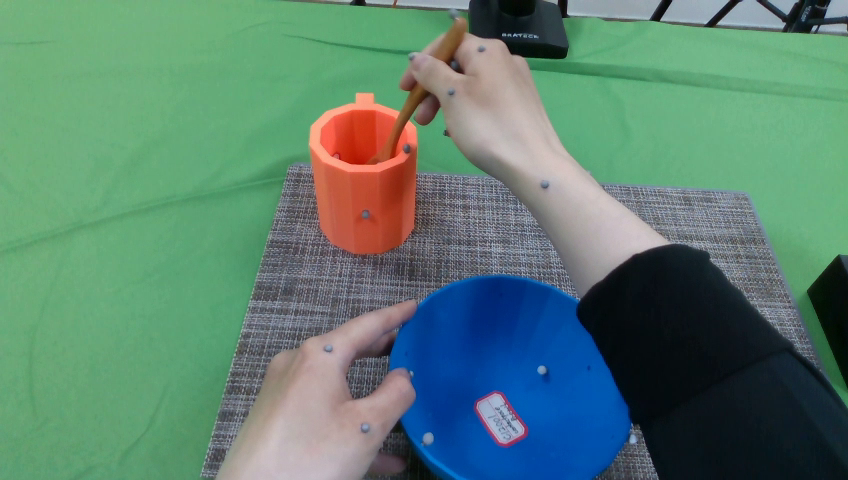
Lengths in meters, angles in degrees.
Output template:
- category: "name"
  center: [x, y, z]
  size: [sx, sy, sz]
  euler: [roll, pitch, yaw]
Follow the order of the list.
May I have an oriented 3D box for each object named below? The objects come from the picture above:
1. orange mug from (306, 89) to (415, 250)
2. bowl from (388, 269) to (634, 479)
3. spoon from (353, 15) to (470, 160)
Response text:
- category: "orange mug"
  center: [-0.053, -0.069, 0.521]
  size: [0.083, 0.101, 0.125]
  euler: [-1, 54, -5]
- category: "bowl"
  center: [0.051, 0.101, 0.397]
  size: [0.151, 0.077, 0.150]
  euler: [2, 49, -3]
- category: "spoon"
  center: [-0.019, -0.091, 0.465]
  size: [0.022, 0.194, 0.041]
  euler: [-19, 68, -41]
